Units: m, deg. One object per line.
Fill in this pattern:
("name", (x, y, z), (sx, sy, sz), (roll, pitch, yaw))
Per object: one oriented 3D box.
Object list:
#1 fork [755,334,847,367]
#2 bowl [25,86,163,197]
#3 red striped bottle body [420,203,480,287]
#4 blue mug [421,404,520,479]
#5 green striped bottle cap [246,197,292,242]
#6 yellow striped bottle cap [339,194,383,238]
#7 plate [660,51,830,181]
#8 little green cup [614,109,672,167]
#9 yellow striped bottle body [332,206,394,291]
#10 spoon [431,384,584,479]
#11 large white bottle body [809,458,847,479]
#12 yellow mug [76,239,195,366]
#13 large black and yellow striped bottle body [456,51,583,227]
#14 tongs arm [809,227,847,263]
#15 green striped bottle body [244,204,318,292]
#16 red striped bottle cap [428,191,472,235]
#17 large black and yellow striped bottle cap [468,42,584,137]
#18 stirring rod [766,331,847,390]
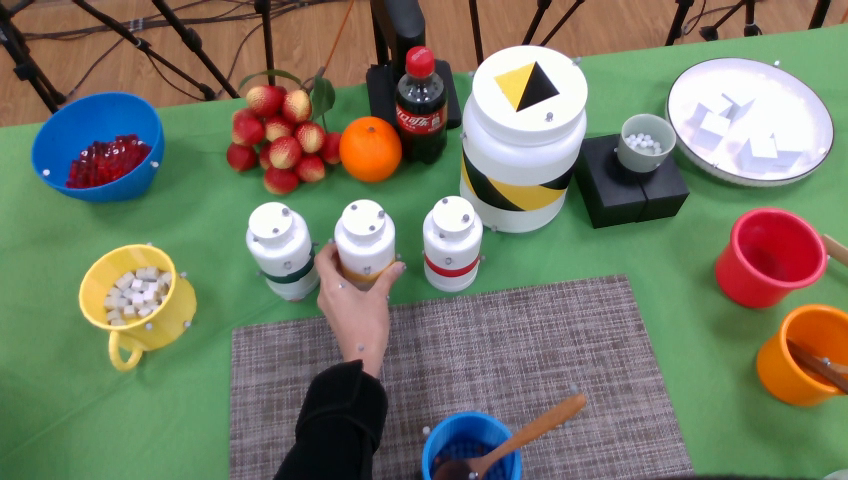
("fork", (0.416, 0.122, 0.566), (0.028, 0.019, 0.206), (-43, 24, -21))
("bowl", (-0.387, -0.106, 0.744), (0.151, 0.077, 0.150), (0, 61, 0))
("red striped bottle body", (0.028, -0.002, 0.657), (0.063, 0.121, 0.062), (-1, 60, 3))
("blue mug", (0.028, 0.213, 0.542), (0.082, 0.107, 0.116), (40, 68, 21))
("green striped bottle cap", (-0.156, -0.021, 0.610), (0.044, 0.020, 0.044), (0, 59, 1))
("yellow striped bottle cap", (-0.064, -0.024, 0.610), (0.044, 0.019, 0.044), (1, 60, -2))
("plate", (0.409, -0.158, 0.787), (0.209, 0.038, 0.207), (0, 61, 0))
("little green cup", (0.253, -0.117, 0.708), (0.061, 0.039, 0.061), (0, 59, 1))
("yellow striped bottle body", (-0.065, 0.002, 0.654), (0.063, 0.121, 0.062), (1, 59, -1))
("spoon", (0.065, 0.173, 0.514), (0.022, 0.194, 0.041), (0, 54, -41))
("large white bottle body", (0.412, 0.229, 0.486), (0.130, 0.186, 0.129), (0, 60, 1))
("yellow mug", (-0.311, 0.071, 0.651), (0.100, 0.064, 0.129), (1, 61, 1))
("large black and yellow striped bottle body", (0.104, -0.113, 0.681), (0.131, 0.185, 0.129), (0, 61, 1))
("tongs arm", (0.604, 0.093, 0.646), (0.382, 0.027, 0.050), (40, 65, 20))
("green striped bottle body", (-0.154, 0.005, 0.656), (0.063, 0.120, 0.062), (0, 60, 1))
("red striped bottle cap", (0.026, -0.028, 0.611), (0.044, 0.018, 0.044), (1, 59, -2))
("large black and yellow striped bottle cap", (0.102, -0.153, 0.607), (0.115, 0.019, 0.114), (-1, 60, 1))
("stirring rod", (0.385, 0.125, 0.573), (0.014, 0.006, 0.175), (-5, 17, -5))
